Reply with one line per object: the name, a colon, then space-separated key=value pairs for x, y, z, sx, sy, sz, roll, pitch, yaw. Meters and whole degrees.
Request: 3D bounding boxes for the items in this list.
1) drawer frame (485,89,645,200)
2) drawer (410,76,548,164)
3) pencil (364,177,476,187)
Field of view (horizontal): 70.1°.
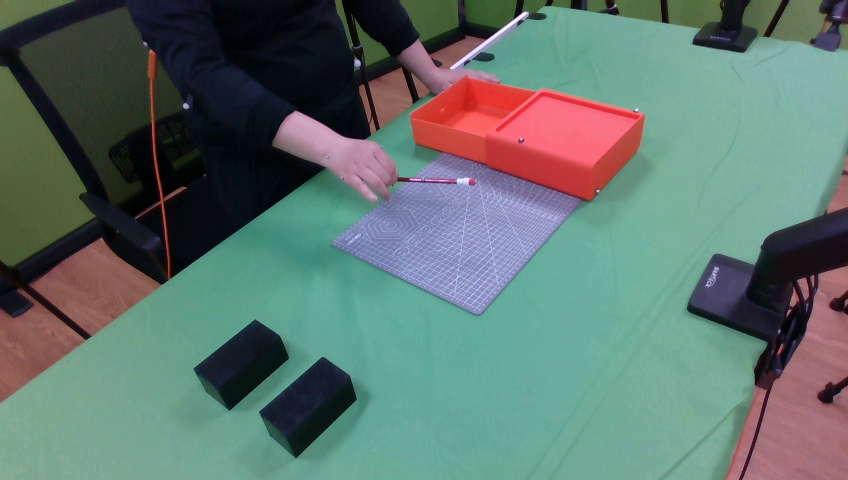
drawer frame: x=0.253 y=-0.180 z=1.094 sx=0.212 sy=0.083 sz=0.202 roll=24 pitch=48 yaw=31
drawer: x=0.113 y=-0.237 z=1.190 sx=0.210 sy=0.073 sz=0.195 roll=22 pitch=47 yaw=33
pencil: x=-0.010 y=-0.094 z=0.957 sx=0.193 sy=0.012 sz=0.012 roll=4 pitch=41 yaw=22
